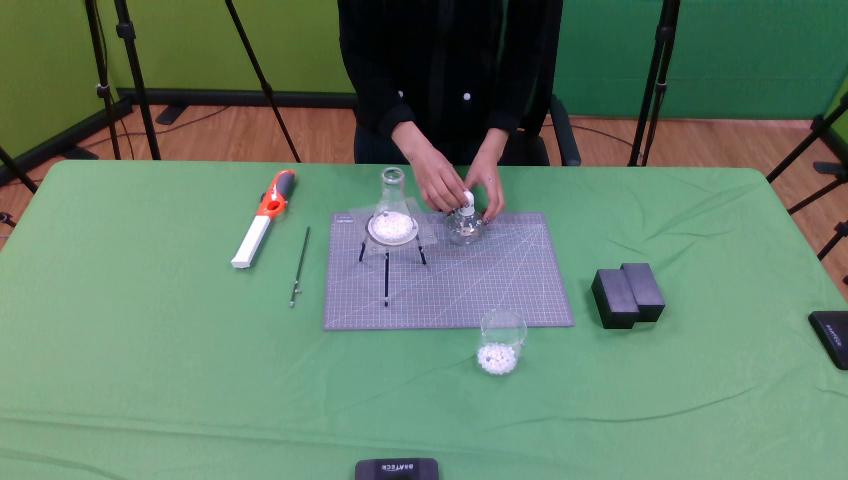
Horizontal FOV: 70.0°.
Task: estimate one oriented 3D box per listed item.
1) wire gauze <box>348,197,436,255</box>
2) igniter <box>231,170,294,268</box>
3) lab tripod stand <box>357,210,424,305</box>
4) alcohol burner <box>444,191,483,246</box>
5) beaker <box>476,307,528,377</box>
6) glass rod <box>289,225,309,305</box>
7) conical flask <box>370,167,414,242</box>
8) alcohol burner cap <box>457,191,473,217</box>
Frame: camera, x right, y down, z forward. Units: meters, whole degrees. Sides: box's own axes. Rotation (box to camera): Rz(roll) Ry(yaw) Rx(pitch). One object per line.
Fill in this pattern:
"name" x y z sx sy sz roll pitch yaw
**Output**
"wire gauze" -0.056 -0.025 1.046 0.125 0.011 0.120 -13 46 -15
"igniter" -0.321 -0.051 1.220 0.057 0.025 0.275 2 45 11
"lab tripod stand" -0.060 0.020 1.094 0.148 0.132 0.147 3 44 -2
"alcohol burner" 0.079 -0.047 1.184 0.078 0.120 0.077 1 45 -1
"beaker" 0.122 0.171 0.991 0.084 0.101 0.073 -34 56 -31
"glass rod" -0.235 0.043 1.149 0.008 0.008 0.198 3 46 -1
"conical flask" -0.053 -0.062 1.000 0.075 0.122 0.075 2 43 -2
"alcohol burner cap" 0.079 -0.071 1.157 0.034 0.048 0.033 0 46 0
